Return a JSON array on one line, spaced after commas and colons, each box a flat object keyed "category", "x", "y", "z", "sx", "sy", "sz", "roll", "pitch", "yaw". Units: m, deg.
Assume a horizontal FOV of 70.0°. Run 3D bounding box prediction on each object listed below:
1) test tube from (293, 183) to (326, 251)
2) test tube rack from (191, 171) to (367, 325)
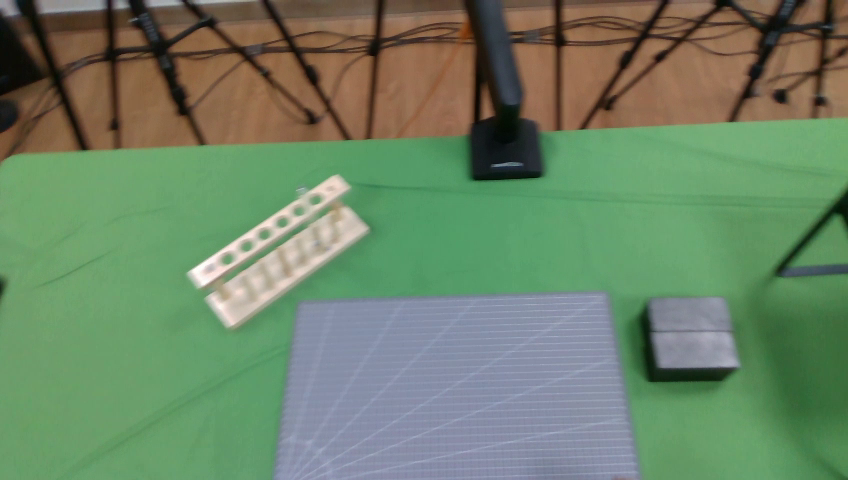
[{"category": "test tube", "x": -0.159, "y": -0.029, "z": 0.846, "sx": 0.017, "sy": 0.151, "sz": 0.017, "roll": -2, "pitch": 57, "yaw": 3}, {"category": "test tube rack", "x": -0.202, "y": 0.010, "z": 0.877, "sx": 0.242, "sy": 0.086, "sz": 0.066, "roll": -38, "pitch": 63, "yaw": -19}]
